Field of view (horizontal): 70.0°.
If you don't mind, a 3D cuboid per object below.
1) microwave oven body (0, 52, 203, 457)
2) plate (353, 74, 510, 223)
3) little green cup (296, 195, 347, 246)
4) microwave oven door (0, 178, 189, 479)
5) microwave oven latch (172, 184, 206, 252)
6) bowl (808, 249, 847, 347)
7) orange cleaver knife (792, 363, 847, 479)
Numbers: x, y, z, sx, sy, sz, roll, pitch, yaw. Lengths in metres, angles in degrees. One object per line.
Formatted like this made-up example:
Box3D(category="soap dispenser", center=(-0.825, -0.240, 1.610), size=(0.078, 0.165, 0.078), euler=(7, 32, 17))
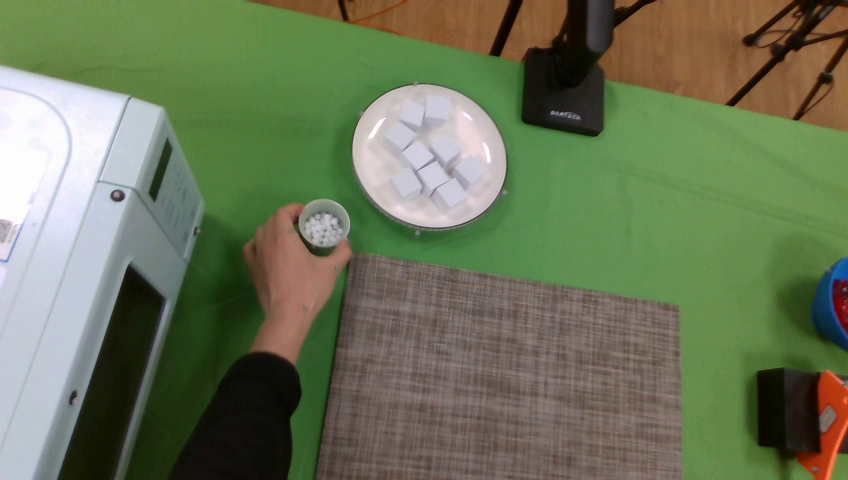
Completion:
Box3D(category="microwave oven body", center=(-0.430, 0.077, 0.531), size=(0.327, 0.261, 0.439), euler=(13, 73, -8))
Box3D(category="plate", center=(0.009, -0.118, 0.799), size=(0.208, 0.039, 0.206), euler=(3, 74, -11))
Box3D(category="little green cup", center=(-0.124, -0.021, 0.740), size=(0.061, 0.039, 0.061), euler=(1, 79, -6))
Box3D(category="microwave oven door", center=(-0.294, 0.148, 0.534), size=(0.039, 0.244, 0.354), euler=(12, 72, -7))
Box3D(category="microwave oven latch", center=(-0.273, -0.029, 0.695), size=(0.030, 0.029, 0.078), euler=(14, 73, -8))
Box3D(category="bowl", center=(0.596, 0.088, 0.841), size=(0.152, 0.077, 0.150), euler=(3, 74, -10))
Box3D(category="orange cleaver knife", center=(0.497, 0.263, 0.769), size=(0.012, 0.077, 0.211), euler=(10, 96, -4))
